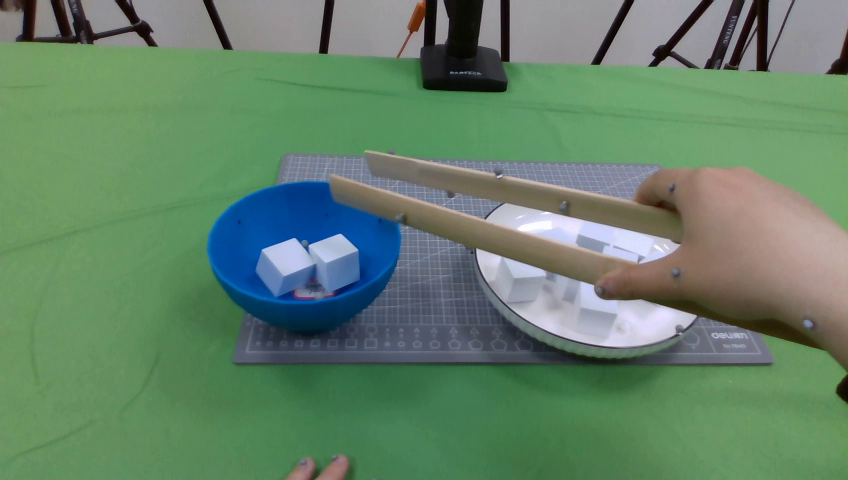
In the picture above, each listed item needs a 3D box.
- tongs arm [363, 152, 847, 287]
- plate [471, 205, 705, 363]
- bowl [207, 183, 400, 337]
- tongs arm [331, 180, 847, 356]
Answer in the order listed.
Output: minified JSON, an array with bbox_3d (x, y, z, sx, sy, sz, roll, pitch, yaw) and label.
[{"bbox_3d":[0.113,-0.007,0.396,0.382,0.027,0.050,14,43,24],"label":"tongs arm"},{"bbox_3d":[0.144,0.033,0.553,0.208,0.039,0.205,3,41,-2],"label":"plate"},{"bbox_3d":[-0.095,0.027,0.503,0.151,0.077,0.150,3,41,-2],"label":"bowl"},{"bbox_3d":[0.098,0.010,0.378,0.385,0.028,0.028,16,41,26],"label":"tongs arm"}]
